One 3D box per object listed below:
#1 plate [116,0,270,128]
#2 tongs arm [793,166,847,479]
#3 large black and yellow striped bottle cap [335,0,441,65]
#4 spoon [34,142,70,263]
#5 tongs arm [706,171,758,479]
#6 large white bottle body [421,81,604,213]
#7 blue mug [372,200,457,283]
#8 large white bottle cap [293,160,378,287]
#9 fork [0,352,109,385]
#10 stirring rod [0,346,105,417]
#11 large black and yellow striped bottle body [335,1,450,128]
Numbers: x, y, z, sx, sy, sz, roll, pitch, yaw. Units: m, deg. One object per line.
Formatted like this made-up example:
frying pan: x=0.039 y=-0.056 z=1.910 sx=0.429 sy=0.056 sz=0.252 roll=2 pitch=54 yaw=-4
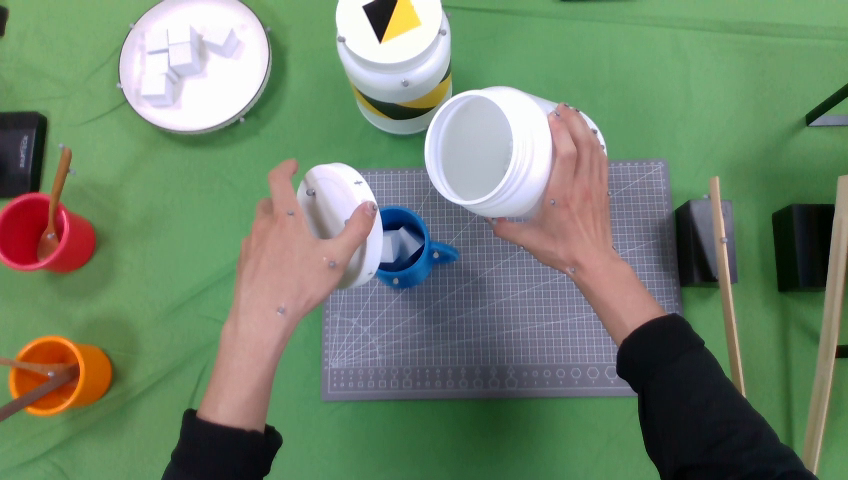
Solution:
plate: x=-0.308 y=-0.248 z=0.824 sx=0.207 sy=0.039 sz=0.207 roll=0 pitch=80 yaw=2
tongs arm: x=0.451 y=0.108 z=0.694 sx=0.028 sy=0.027 sz=0.387 roll=7 pitch=91 yaw=-5
large black and yellow striped bottle cap: x=-0.039 y=-0.246 z=0.653 sx=0.115 sy=0.019 sz=0.114 roll=0 pitch=80 yaw=1
spoon: x=-0.452 y=-0.042 z=0.738 sx=0.041 sy=0.021 sz=0.194 roll=44 pitch=128 yaw=13
tongs arm: x=0.369 y=0.110 z=0.694 sx=0.051 sy=0.026 sz=0.384 roll=-6 pitch=91 yaw=-1
large white bottle body: x=0.095 y=-0.094 z=0.640 sx=0.130 sy=0.186 sz=0.130 roll=3 pitch=94 yaw=39
blue mug: x=-0.018 y=0.006 z=0.728 sx=0.116 sy=0.106 sz=0.082 roll=6 pitch=79 yaw=3
large white bottle cap: x=-0.082 y=-0.014 z=0.548 sx=0.018 sy=0.115 sz=0.114 roll=-14 pitch=75 yaw=-41
fork: x=-0.477 y=0.138 z=0.702 sx=0.209 sy=0.018 sz=0.028 roll=25 pitch=76 yaw=-37
stirring rod: x=-0.453 y=0.175 z=0.701 sx=0.014 sy=0.006 sz=0.176 roll=45 pitch=42 yaw=6
large black and yellow striped bottle body: x=-0.034 y=-0.227 z=0.734 sx=0.131 sy=0.185 sz=0.130 roll=0 pitch=79 yaw=3
